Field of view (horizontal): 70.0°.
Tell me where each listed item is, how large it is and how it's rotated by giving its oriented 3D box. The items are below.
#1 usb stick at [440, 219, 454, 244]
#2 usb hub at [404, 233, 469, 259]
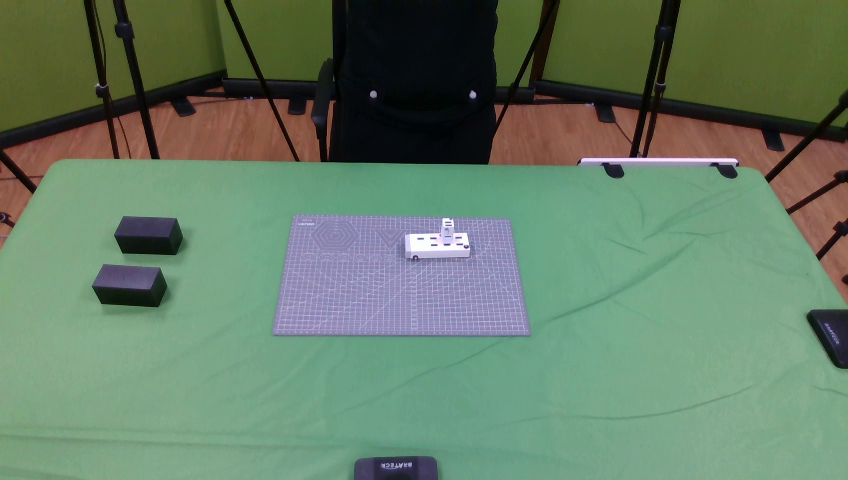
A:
[{"bbox_3d":[0.043,-0.011,1.166,0.021,0.059,0.027,-3,48,-8],"label":"usb stick"},{"bbox_3d":[0.024,0.012,1.181,0.125,0.025,0.049,-2,47,-5],"label":"usb hub"}]
